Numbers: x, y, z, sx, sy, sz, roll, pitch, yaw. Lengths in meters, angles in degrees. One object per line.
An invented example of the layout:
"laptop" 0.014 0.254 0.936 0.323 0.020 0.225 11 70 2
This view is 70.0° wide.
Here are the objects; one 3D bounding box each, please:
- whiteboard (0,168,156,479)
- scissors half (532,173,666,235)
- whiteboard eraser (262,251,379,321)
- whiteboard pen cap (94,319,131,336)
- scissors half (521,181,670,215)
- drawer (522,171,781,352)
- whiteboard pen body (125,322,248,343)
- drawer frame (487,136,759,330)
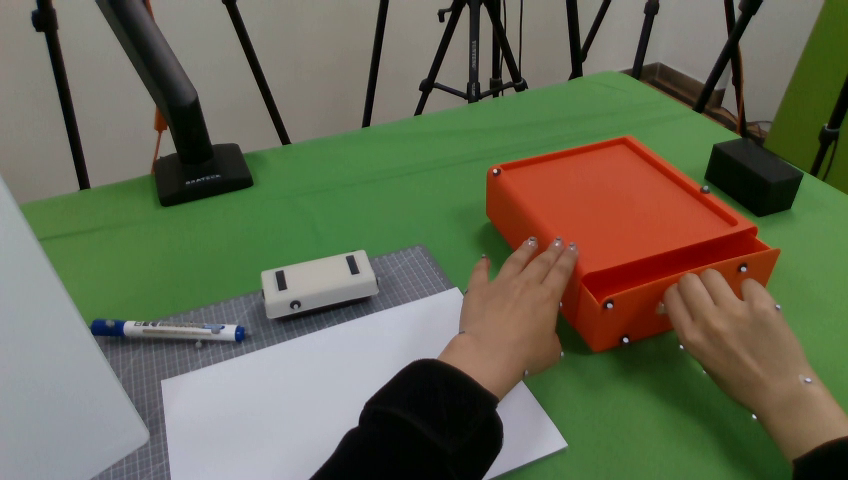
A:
"whiteboard" -0.383 0.072 0.440 0.217 0.307 0.142 -32 27 -32
"scissors half" 0.209 -0.037 0.740 0.175 0.040 0.012 -21 35 31
"whiteboard eraser" -0.106 0.049 0.622 0.113 0.042 0.055 -13 37 -13
"whiteboard pen cap" -0.303 0.086 0.594 0.033 0.018 0.018 2 37 -1
"scissors half" 0.204 -0.046 0.733 0.174 0.040 0.012 -6 34 20
"drawer" 0.213 0.002 0.639 0.195 0.074 0.209 -14 38 -14
"whiteboard pen body" -0.243 0.089 0.592 0.141 0.017 0.017 2 37 1
"drawer frame" 0.202 -0.018 0.664 0.202 0.083 0.211 -15 38 -15
